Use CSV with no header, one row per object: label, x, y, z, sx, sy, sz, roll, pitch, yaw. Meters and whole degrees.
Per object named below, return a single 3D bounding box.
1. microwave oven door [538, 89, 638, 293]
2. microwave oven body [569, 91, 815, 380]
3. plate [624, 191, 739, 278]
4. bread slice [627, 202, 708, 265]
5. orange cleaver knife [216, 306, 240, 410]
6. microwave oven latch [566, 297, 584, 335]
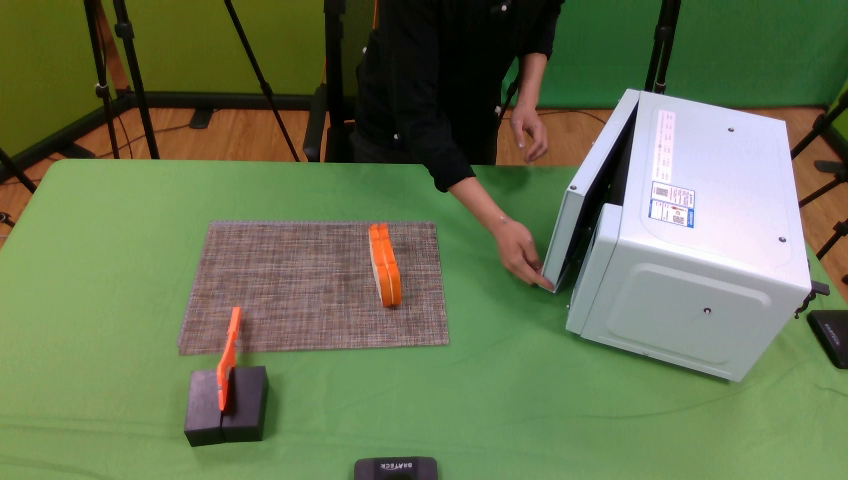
microwave oven door,0.315,-0.101,1.141,0.039,0.245,0.355,23,49,17
microwave oven body,0.468,-0.022,1.082,0.325,0.261,0.440,15,46,11
plate,0.482,-0.007,1.149,0.208,0.039,0.206,0,50,0
bread slice,0.475,-0.020,1.170,0.134,0.018,0.106,-32,57,-17
orange cleaver knife,-0.307,0.180,0.957,0.012,0.077,0.210,-2,25,-8
microwave oven latch,0.268,0.126,1.059,0.030,0.029,0.079,16,46,12
